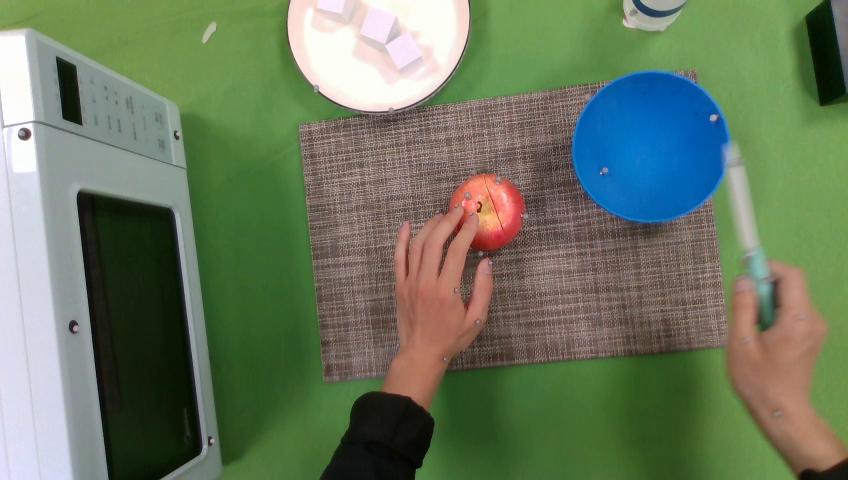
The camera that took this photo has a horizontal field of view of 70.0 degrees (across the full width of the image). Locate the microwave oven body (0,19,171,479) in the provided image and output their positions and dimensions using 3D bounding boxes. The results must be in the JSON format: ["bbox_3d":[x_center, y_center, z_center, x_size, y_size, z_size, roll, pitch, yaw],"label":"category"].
[{"bbox_3d":[-0.430,0.065,0.604,0.326,0.260,0.441,-8,89,5],"label":"microwave oven body"}]

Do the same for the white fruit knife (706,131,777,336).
[{"bbox_3d":[0.267,0.002,0.510,0.016,0.027,0.209,-26,112,3],"label":"white fruit knife"}]

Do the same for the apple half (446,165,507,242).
[{"bbox_3d":[0.051,-0.034,0.648,0.053,0.075,0.081,-22,89,10],"label":"apple half"}]

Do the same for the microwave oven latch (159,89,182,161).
[{"bbox_3d":[-0.298,-0.129,0.689,0.030,0.029,0.079,-8,89,5],"label":"microwave oven latch"}]

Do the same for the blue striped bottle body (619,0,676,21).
[{"bbox_3d":[0.239,-0.273,0.610,0.063,0.121,0.063,0,89,6],"label":"blue striped bottle body"}]

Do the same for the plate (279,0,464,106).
[{"bbox_3d":[-0.058,-0.251,0.684,0.207,0.039,0.207,0,89,6],"label":"plate"}]

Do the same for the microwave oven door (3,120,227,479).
[{"bbox_3d":[-0.280,0.085,0.583,0.039,0.244,0.355,-9,88,6],"label":"microwave oven door"}]

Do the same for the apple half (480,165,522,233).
[{"bbox_3d":[0.087,-0.048,0.644,0.033,0.081,0.081,-22,87,9],"label":"apple half"}]

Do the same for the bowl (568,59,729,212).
[{"bbox_3d":[0.222,-0.101,0.628,0.151,0.077,0.151,0,89,7],"label":"bowl"}]
